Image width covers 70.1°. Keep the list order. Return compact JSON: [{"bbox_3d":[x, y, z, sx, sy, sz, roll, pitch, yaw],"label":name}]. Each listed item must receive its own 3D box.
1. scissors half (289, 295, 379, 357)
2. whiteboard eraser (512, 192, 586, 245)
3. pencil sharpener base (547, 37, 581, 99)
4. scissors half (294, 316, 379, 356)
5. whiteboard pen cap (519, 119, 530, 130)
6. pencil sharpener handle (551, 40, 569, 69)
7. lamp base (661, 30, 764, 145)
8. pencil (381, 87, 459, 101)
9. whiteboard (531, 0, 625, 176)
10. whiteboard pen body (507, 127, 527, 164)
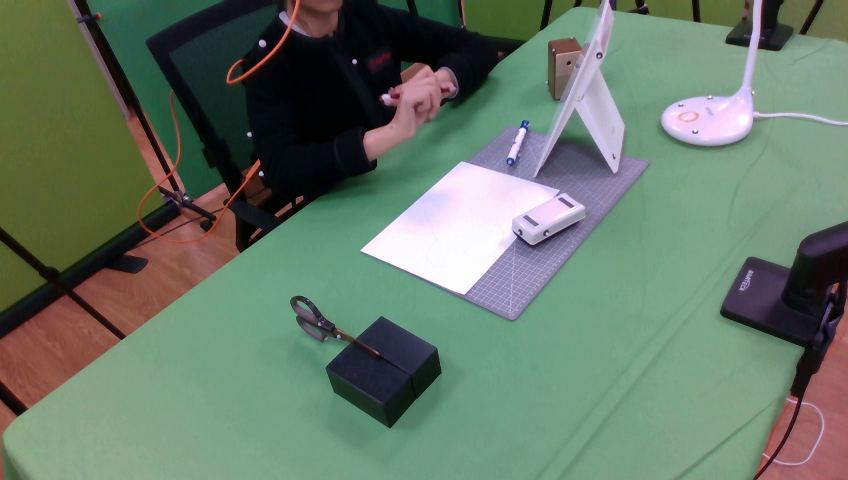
[{"bbox_3d":[-0.123,0.114,0.803,0.174,0.040,0.013,26,48,32],"label":"scissors half"},{"bbox_3d":[0.199,-0.032,0.962,0.113,0.042,0.055,-27,42,-20],"label":"whiteboard eraser"},{"bbox_3d":[0.299,-0.368,1.290,0.061,0.107,0.076,-8,40,2],"label":"pencil sharpener base"},{"bbox_3d":[-0.119,0.132,0.813,0.174,0.040,0.013,9,31,44],"label":"scissors half"},{"bbox_3d":[0.199,-0.226,1.204,0.018,0.018,0.033,7,41,18],"label":"whiteboard pen cap"},{"bbox_3d":[0.291,-0.409,1.320,0.036,0.068,0.030,2,40,-6],"label":"pencil sharpener handle"},{"bbox_3d":[0.535,-0.287,1.096,0.179,0.181,0.159,-10,40,-4],"label":"lamp base"},{"bbox_3d":[-0.011,-0.266,1.097,0.192,0.012,0.012,6,39,43],"label":"pencil"},{"bbox_3d":[0.320,-0.258,1.050,0.144,0.306,0.217,22,45,5],"label":"whiteboard"},{"bbox_3d":[0.181,-0.189,1.162,0.017,0.017,0.140,8,42,19],"label":"whiteboard pen body"}]
